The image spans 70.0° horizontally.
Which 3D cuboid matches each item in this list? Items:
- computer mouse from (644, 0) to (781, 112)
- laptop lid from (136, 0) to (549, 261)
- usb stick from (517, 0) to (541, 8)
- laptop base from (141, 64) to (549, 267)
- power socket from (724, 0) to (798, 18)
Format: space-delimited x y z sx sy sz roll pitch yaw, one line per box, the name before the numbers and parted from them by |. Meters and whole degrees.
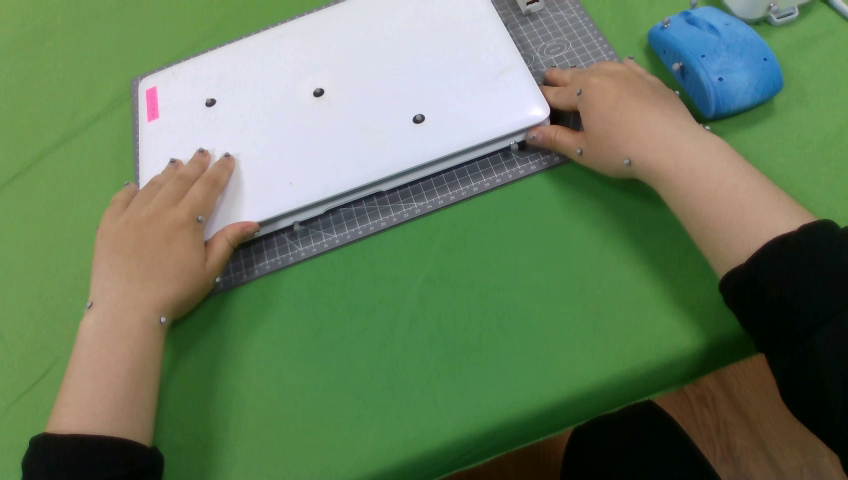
computer mouse | 0.230 -0.156 0.488 0.063 0.041 0.116 -21 54 4
laptop lid | -0.094 -0.133 0.543 0.357 0.013 0.239 -19 58 2
usb stick | 0.092 -0.251 0.577 0.021 0.027 0.058 -19 57 6
laptop base | -0.091 -0.127 0.559 0.354 0.023 0.233 -20 62 1
power socket | 0.274 -0.289 0.555 0.072 0.033 0.224 -18 59 4
